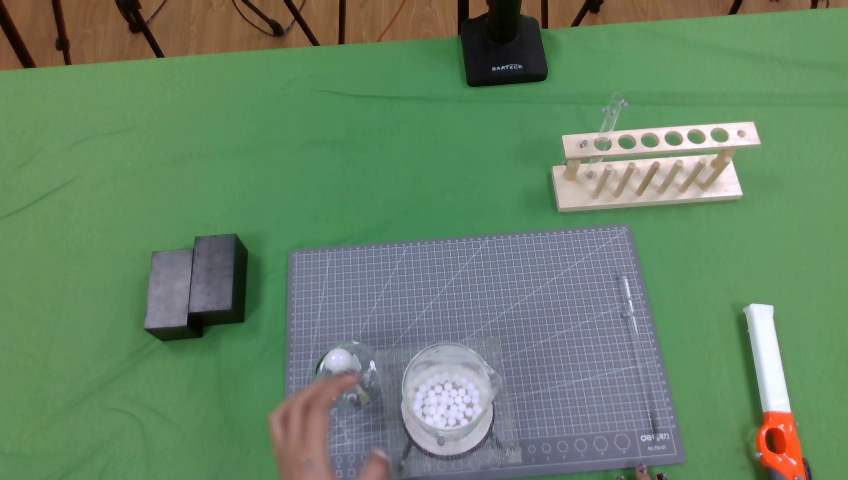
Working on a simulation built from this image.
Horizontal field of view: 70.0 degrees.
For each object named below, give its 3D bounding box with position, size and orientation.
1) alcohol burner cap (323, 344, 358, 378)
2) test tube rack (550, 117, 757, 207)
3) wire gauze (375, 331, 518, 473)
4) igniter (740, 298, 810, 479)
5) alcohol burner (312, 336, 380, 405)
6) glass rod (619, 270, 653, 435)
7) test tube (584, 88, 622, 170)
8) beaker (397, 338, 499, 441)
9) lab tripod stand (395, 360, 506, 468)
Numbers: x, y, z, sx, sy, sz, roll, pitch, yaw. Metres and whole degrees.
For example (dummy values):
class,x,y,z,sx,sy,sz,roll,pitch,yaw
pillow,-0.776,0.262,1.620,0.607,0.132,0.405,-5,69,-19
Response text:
class,x,y,z,sx,sy,sz,roll,pitch,yaw
alcohol burner cap,-0.089,0.126,0.637,0.034,0.048,0.033,-2,71,5
test tube rack,0.295,-0.099,0.788,0.242,0.086,0.066,-4,65,0
wire gauze,0.019,0.152,0.579,0.125,0.011,0.120,-8,64,0
igniter,0.396,0.199,0.684,0.057,0.025,0.274,7,66,-7
alcohol burner,-0.088,0.140,0.670,0.078,0.120,0.077,-1,64,2
glass rod,0.253,0.130,0.725,0.008,0.008,0.198,-3,69,0
test tube,0.219,-0.132,0.750,0.017,0.151,0.017,-1,62,2
beaker,0.021,0.135,0.534,0.084,0.101,0.073,-9,65,-3
lab tripod stand,0.021,0.183,0.638,0.148,0.132,0.147,-1,65,3
